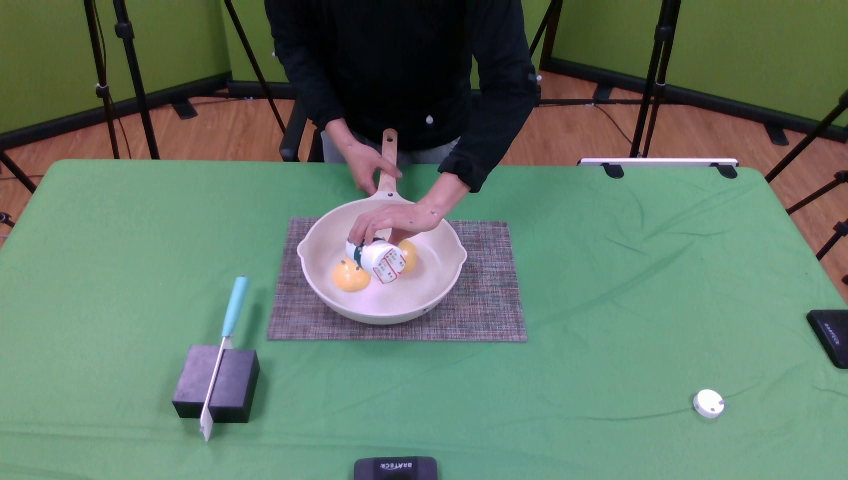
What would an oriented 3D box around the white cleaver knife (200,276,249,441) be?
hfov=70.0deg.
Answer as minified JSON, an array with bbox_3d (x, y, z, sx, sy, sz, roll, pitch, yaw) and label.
[{"bbox_3d":[-0.321,0.177,0.972,0.021,0.066,0.284,7,48,-5],"label":"white cleaver knife"}]

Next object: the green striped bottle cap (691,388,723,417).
[{"bbox_3d":[0.460,0.263,0.984,0.044,0.020,0.044,3,46,-3],"label":"green striped bottle cap"}]

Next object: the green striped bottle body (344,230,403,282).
[{"bbox_3d":[-0.091,0.023,1.020,0.063,0.063,0.118,-25,30,-26],"label":"green striped bottle body"}]

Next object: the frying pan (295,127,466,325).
[{"bbox_3d":[-0.076,-0.045,1.172,0.307,0.103,0.485,3,55,-2],"label":"frying pan"}]

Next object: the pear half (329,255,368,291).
[{"bbox_3d":[-0.139,0.053,1.120,0.070,0.031,0.087,-6,50,-17],"label":"pear half"}]

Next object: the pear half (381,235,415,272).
[{"bbox_3d":[-0.074,0.017,1.146,0.110,0.056,0.076,8,41,8],"label":"pear half"}]
